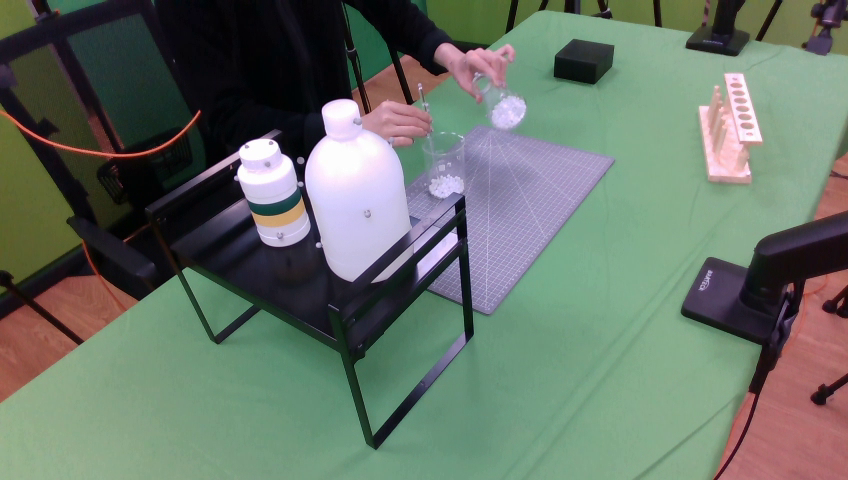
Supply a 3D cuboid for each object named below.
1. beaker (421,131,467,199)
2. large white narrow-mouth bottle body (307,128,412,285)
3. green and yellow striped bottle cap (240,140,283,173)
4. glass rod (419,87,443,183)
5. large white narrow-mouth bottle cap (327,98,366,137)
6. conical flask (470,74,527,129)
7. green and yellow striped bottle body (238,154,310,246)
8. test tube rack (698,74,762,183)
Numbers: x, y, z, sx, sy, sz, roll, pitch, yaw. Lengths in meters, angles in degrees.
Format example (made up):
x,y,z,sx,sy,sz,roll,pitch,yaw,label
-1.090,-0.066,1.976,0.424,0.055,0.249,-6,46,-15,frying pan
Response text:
x,y,z,sx,sy,sz,roll,pitch,yaw,label
0.040,-0.130,1.060,0.084,0.100,0.073,-24,44,-19,beaker
-0.070,-0.051,0.638,0.102,0.195,0.101,-3,40,3,large white narrow-mouth bottle body
-0.183,-0.094,0.679,0.045,0.020,0.045,-4,38,4,green and yellow striped bottle cap
0.014,-0.169,1.003,0.008,0.201,0.008,-7,47,8,glass rod
-0.075,-0.118,0.582,0.038,0.024,0.037,-3,40,3,large white narrow-mouth bottle cap
0.126,-0.250,1.066,0.075,0.123,0.075,-9,73,32,conical flask
-0.178,-0.056,0.714,0.063,0.120,0.063,-4,40,4,green and yellow striped bottle body
0.547,-0.208,1.095,0.066,0.085,0.242,5,42,15,test tube rack
